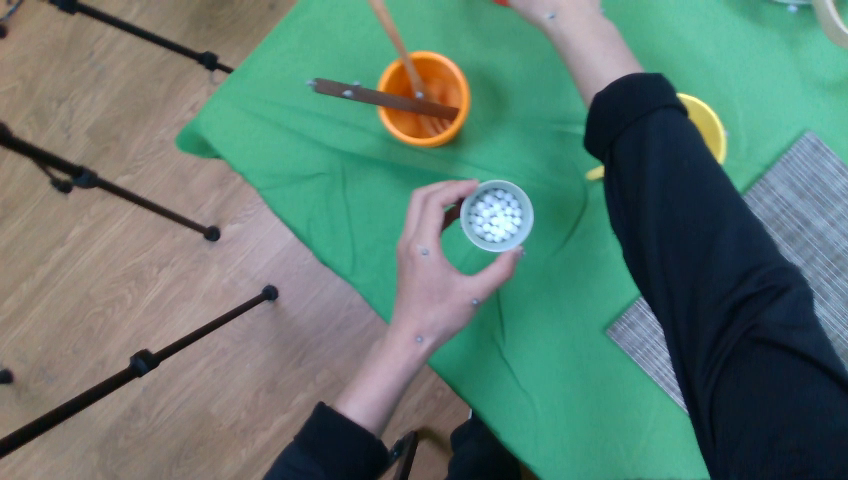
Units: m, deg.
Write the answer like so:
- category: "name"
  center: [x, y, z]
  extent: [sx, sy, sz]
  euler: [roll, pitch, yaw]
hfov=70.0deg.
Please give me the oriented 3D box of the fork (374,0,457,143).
- category: "fork"
  center: [-0.014, -0.179, 0.592]
  extent: [0.028, 0.018, 0.209]
  euler: [-30, 133, 2]

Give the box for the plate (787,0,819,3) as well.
- category: "plate"
  center: [0.394, -0.341, 0.612]
  extent: [0.207, 0.039, 0.207]
  euler: [0, 92, 5]

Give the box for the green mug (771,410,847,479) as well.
- category: "green mug"
  center: [0.422, 0.216, 0.594]
  extent: [0.125, 0.105, 0.092]
  euler: [-29, 89, 5]

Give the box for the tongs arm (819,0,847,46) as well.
- category: "tongs arm"
  center: [0.357, -0.366, 0.581]
  extent: [0.051, 0.026, 0.384]
  euler: [-16, 89, 2]

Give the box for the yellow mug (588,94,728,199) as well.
- category: "yellow mug"
  center: [0.233, -0.088, 0.620]
  extent: [0.131, 0.064, 0.100]
  euler: [-20, 91, 6]

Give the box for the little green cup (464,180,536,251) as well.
- category: "little green cup"
  center: [0.065, -0.022, 0.530]
  extent: [0.061, 0.038, 0.061]
  euler: [0, 96, 3]

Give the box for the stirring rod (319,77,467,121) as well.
- category: "stirring rod"
  center: [-0.025, -0.138, 0.600]
  extent: [0.177, 0.006, 0.014]
  euler: [2, 94, -38]
